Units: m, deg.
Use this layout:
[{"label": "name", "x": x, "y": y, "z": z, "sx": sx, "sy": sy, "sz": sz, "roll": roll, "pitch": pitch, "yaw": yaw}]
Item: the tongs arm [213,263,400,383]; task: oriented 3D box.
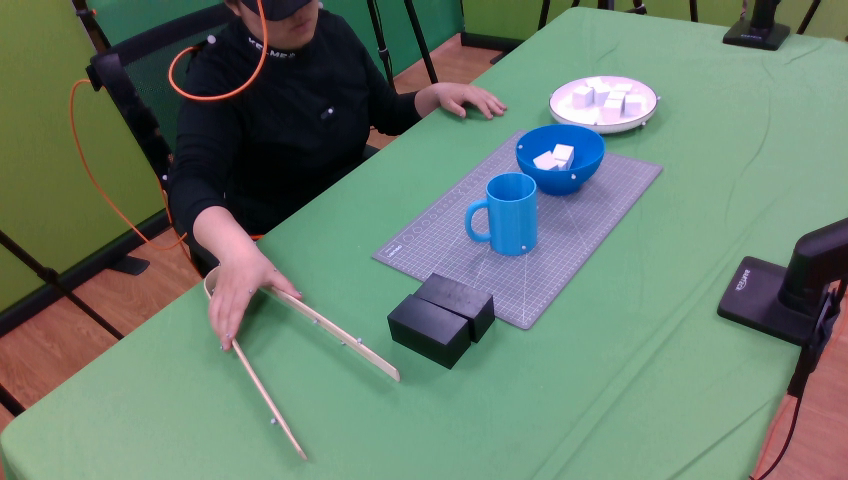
[{"label": "tongs arm", "x": -0.184, "y": 0.115, "z": 0.870, "sx": 0.381, "sy": 0.027, "sz": 0.051, "roll": 28, "pitch": 57, "yaw": 36}]

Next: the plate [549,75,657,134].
[{"label": "plate", "x": 0.357, "y": -0.269, "z": 1.220, "sx": 0.209, "sy": 0.038, "sz": 0.208, "roll": -5, "pitch": 41, "yaw": 5}]

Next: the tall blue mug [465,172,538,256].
[{"label": "tall blue mug", "x": 0.125, "y": -0.033, "z": 0.925, "sx": 0.107, "sy": 0.108, "sz": 0.077, "roll": -32, "pitch": 46, "yaw": -25}]

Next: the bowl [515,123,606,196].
[{"label": "bowl", "x": 0.234, "y": -0.130, "z": 1.044, "sx": 0.151, "sy": 0.077, "sz": 0.150, "roll": -5, "pitch": 40, "yaw": 5}]

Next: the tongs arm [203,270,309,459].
[{"label": "tongs arm", "x": -0.242, "y": 0.156, "z": 0.837, "sx": 0.028, "sy": 0.028, "sz": 0.384, "roll": -34, "pitch": 45, "yaw": -15}]
